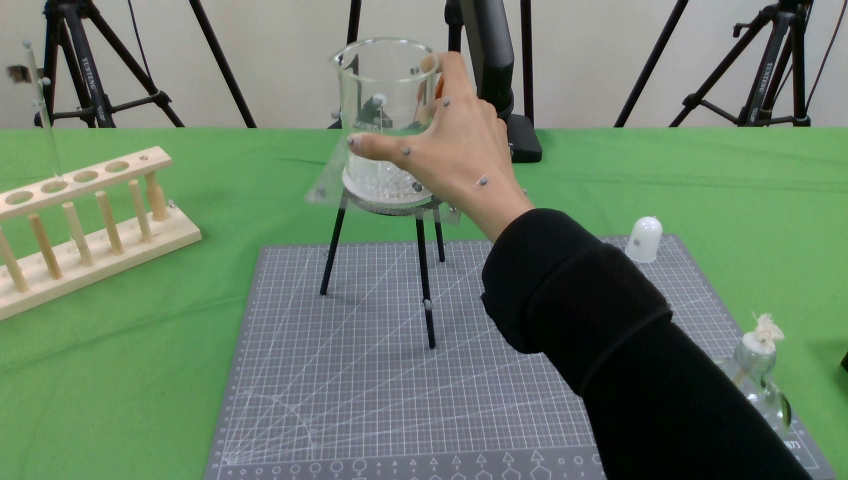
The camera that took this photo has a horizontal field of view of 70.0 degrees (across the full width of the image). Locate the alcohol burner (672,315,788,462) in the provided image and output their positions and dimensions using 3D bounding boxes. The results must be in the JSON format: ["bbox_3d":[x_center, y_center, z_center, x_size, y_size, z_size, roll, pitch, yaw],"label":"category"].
[{"bbox_3d":[0.220,0.100,0.428,0.078,0.120,0.077,1,35,-1],"label":"alcohol burner"}]

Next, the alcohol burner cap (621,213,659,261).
[{"bbox_3d":[0.225,-0.006,0.627,0.034,0.048,0.033,1,37,-1],"label":"alcohol burner cap"}]

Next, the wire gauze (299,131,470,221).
[{"bbox_3d":[-0.028,-0.059,0.500,0.125,0.011,0.120,5,38,8],"label":"wire gauze"}]

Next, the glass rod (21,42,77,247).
[{"bbox_3d":[-0.343,-0.080,0.560,0.008,0.201,0.008,4,30,-2],"label":"glass rod"}]

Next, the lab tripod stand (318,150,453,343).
[{"bbox_3d":[-0.027,0.000,0.533,0.148,0.132,0.147,0,39,0],"label":"lab tripod stand"}]

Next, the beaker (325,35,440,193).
[{"bbox_3d":[-0.032,-0.093,0.462,0.084,0.101,0.073,10,41,9],"label":"beaker"}]

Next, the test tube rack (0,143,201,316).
[{"bbox_3d":[-0.348,-0.007,0.572,0.242,0.086,0.066,-27,46,-32],"label":"test tube rack"}]
